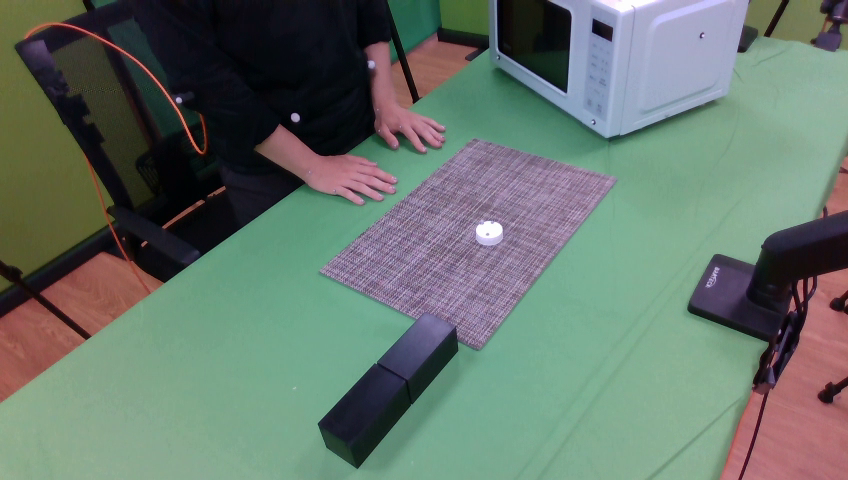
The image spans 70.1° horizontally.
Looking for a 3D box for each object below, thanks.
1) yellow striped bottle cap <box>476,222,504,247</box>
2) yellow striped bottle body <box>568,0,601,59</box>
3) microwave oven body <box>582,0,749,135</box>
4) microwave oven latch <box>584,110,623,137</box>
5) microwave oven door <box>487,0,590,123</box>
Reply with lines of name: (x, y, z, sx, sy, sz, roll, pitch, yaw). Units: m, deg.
yellow striped bottle cap: (0.105, -0.010, 0.966, 0.044, 0.019, 0.044, -3, 39, 3)
yellow striped bottle body: (0.337, -0.448, 1.268, 0.063, 0.121, 0.062, -4, 43, 4)
microwave oven body: (0.382, -0.444, 1.246, 0.327, 0.261, 0.437, -22, 42, -16)
microwave oven latch: (0.337, -0.222, 1.142, 0.030, 0.029, 0.078, -21, 42, -14)
microwave oven door: (0.232, -0.420, 1.230, 0.039, 0.245, 0.352, -22, 43, -16)
